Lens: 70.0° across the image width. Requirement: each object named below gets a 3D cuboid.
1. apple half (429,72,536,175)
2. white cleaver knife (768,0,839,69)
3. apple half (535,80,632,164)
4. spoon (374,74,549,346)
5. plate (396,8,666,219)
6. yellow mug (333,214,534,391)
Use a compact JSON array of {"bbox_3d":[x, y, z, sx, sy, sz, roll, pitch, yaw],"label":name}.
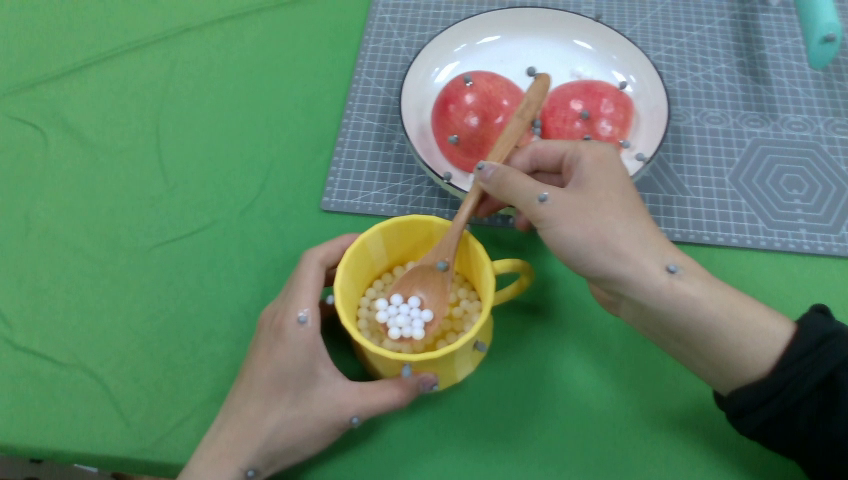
[{"bbox_3d":[0.044,-0.098,0.466,0.081,0.054,0.074,-33,61,-14],"label":"apple half"},{"bbox_3d":[0.322,-0.251,0.540,0.021,0.066,0.284,4,57,11],"label":"white cleaver knife"},{"bbox_3d":[0.126,-0.101,0.474,0.081,0.033,0.080,-1,64,2],"label":"apple half"},{"bbox_3d":[0.027,-0.020,0.378,0.041,0.022,0.194,31,94,20],"label":"spoon"},{"bbox_3d":[0.082,-0.101,0.485,0.209,0.038,0.207,-1,61,2],"label":"plate"},{"bbox_3d":[0.010,0.038,0.397,0.131,0.064,0.099,-15,61,-7],"label":"yellow mug"}]
